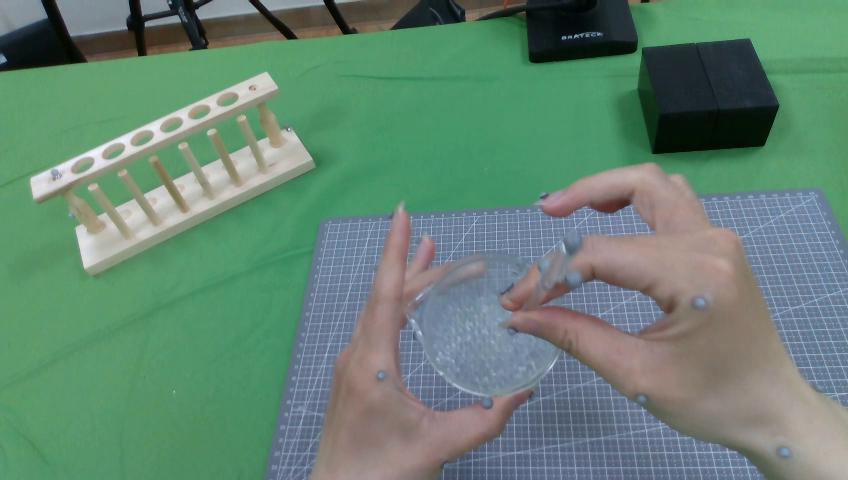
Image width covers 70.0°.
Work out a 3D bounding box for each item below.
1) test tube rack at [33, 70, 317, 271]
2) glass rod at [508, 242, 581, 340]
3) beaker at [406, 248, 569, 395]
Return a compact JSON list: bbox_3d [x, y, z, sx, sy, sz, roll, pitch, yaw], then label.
[{"bbox_3d":[-0.239,-0.071,0.602,0.242,0.086,0.066,-28,53,-11],"label":"test tube rack"},{"bbox_3d":[0.052,0.032,0.289,0.008,0.201,0.008,-1,73,2],"label":"glass rod"},{"bbox_3d":[0.034,0.052,0.351,0.084,0.101,0.073,9,76,6],"label":"beaker"}]
